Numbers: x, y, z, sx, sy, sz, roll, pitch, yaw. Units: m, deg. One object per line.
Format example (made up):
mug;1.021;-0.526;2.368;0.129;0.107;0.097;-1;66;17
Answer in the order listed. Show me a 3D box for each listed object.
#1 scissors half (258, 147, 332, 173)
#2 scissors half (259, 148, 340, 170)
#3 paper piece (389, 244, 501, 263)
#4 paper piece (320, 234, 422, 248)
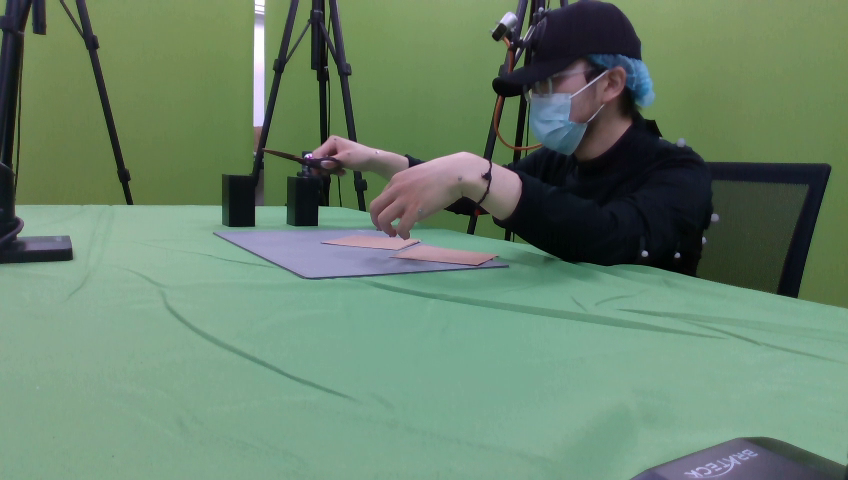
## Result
scissors half;-0.256;-0.160;1.206;0.040;0.013;0.176;-9;-15;37
scissors half;-0.242;-0.163;1.193;0.176;0.013;0.040;8;-20;-36
paper piece;0.034;0.021;0.906;0.138;0.008;0.136;4;10;20
paper piece;-0.084;0.000;1.017;0.135;0.004;0.136;5;8;17
